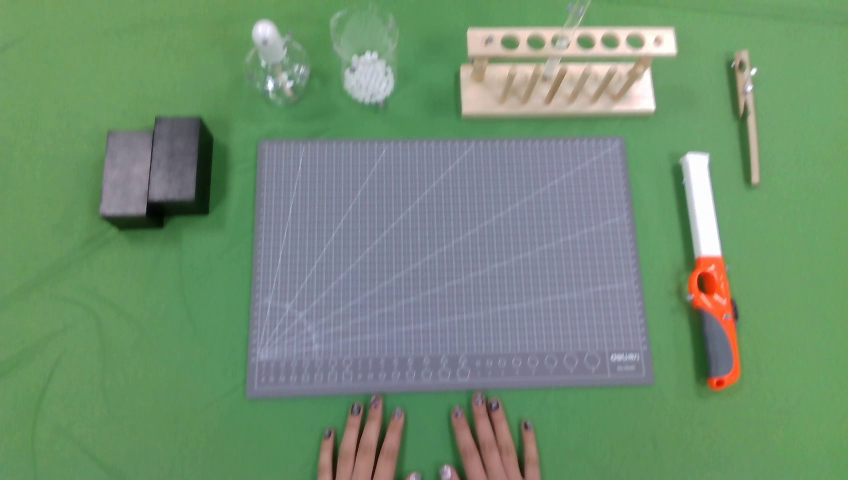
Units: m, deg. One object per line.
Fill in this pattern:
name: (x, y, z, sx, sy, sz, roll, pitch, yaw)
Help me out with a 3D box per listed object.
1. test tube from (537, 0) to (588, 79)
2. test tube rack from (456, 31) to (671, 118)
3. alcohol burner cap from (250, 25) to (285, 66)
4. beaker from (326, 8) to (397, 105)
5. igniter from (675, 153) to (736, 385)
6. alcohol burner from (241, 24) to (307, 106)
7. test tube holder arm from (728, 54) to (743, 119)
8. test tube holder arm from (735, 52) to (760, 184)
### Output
test tube: (0.155, -0.230, 0.692, 0.017, 0.151, 0.017, 2, 72, -5)
test tube rack: (0.164, -0.199, 0.735, 0.242, 0.085, 0.066, -1, 74, -4)
alcohol burner cap: (-0.175, -0.218, 0.669, 0.034, 0.048, 0.033, 0, 80, 0)
beaker: (-0.074, -0.213, 0.718, 0.084, 0.101, 0.074, 26, 74, 5)
igniter: (0.329, 0.029, 0.712, 0.057, 0.025, 0.275, 2, 74, -13)
alcohol burner: (-0.177, -0.207, 0.703, 0.078, 0.119, 0.077, 1, 72, -2)
test tube holder arm: (0.405, -0.199, 0.784, 0.010, 0.015, 0.087, -9, 73, 31)
test tube holder arm: (0.410, -0.156, 0.769, 0.013, 0.015, 0.177, -10, 72, 30)
